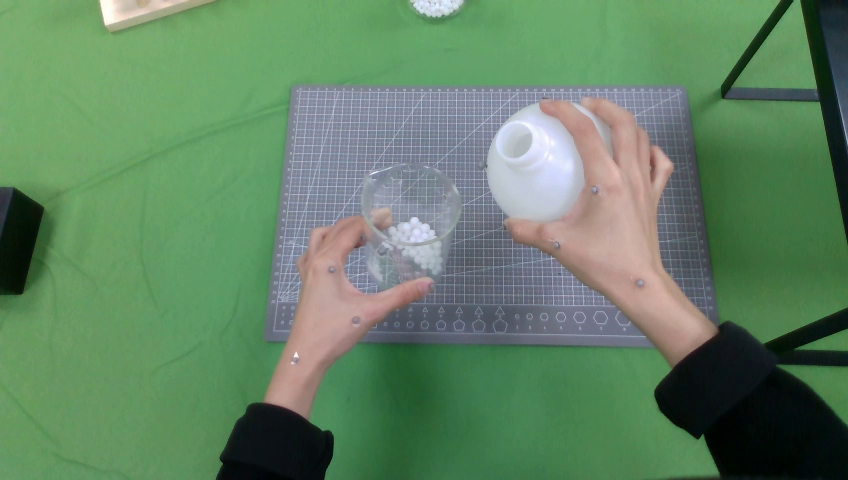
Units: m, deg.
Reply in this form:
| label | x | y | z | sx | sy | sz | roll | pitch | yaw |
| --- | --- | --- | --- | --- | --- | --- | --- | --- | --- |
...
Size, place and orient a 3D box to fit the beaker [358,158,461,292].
| label | x | y | z | sx | sy | sz | roll | pitch | yaw |
| --- | --- | --- | --- | --- | --- | --- | --- | --- | --- |
| beaker | -0.017 | -0.008 | 0.488 | 0.083 | 0.101 | 0.074 | 34 | 63 | 13 |

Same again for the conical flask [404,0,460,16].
| label | x | y | z | sx | sy | sz | roll | pitch | yaw |
| --- | --- | --- | --- | --- | --- | --- | --- | --- | --- |
| conical flask | 0.008 | -0.322 | 0.685 | 0.075 | 0.122 | 0.075 | -1 | 70 | 2 |

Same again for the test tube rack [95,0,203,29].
| label | x | y | z | sx | sy | sz | roll | pitch | yaw |
| --- | --- | --- | --- | --- | --- | --- | --- | --- | --- |
| test tube rack | -0.286 | -0.339 | 0.718 | 0.242 | 0.086 | 0.066 | -19 | 71 | -5 |

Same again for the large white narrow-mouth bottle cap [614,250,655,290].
| label | x | y | z | sx | sy | sz | roll | pitch | yaw |
| --- | --- | --- | --- | --- | --- | --- | --- | --- | --- |
| large white narrow-mouth bottle cap | 0.211 | 0.031 | 0.607 | 0.038 | 0.024 | 0.037 | -1 | 71 | 3 |

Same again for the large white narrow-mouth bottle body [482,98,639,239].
| label | x | y | z | sx | sy | sz | roll | pitch | yaw |
| --- | --- | --- | --- | --- | --- | --- | --- | --- | --- |
| large white narrow-mouth bottle body | 0.104 | -0.057 | 0.483 | 0.101 | 0.196 | 0.101 | -3 | 83 | 29 |
